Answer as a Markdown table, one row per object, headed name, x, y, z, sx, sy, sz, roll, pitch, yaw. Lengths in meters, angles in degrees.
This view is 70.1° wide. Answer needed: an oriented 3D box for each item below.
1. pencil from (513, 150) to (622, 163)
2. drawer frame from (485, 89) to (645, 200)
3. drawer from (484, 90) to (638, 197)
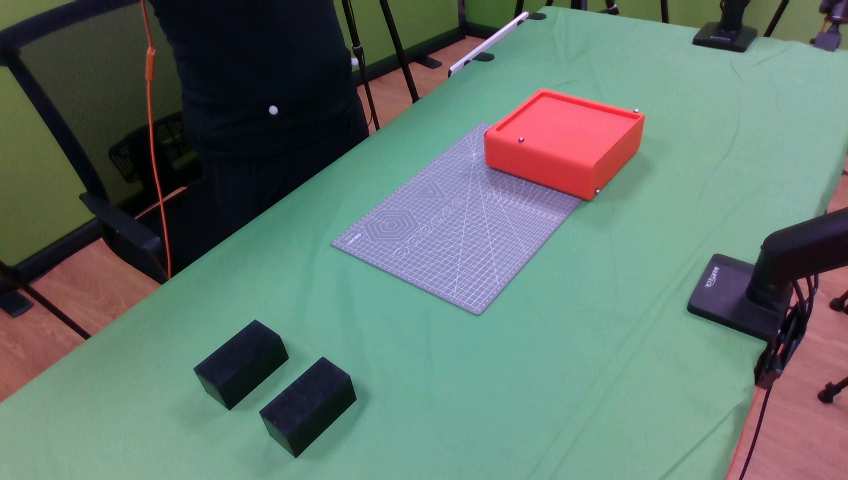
| name | x | y | z | sx | sy | sz | roll | pitch | yaw |
| --- | --- | --- | --- | --- | --- | --- | --- | --- | --- |
| pencil | 0.260 | -0.150 | 1.099 | 0.194 | 0.012 | 0.012 | -4 | 40 | 6 |
| drawer frame | 0.253 | -0.180 | 1.094 | 0.212 | 0.083 | 0.202 | 24 | 48 | 31 |
| drawer | 0.247 | -0.180 | 1.097 | 0.210 | 0.073 | 0.195 | 25 | 49 | 31 |
